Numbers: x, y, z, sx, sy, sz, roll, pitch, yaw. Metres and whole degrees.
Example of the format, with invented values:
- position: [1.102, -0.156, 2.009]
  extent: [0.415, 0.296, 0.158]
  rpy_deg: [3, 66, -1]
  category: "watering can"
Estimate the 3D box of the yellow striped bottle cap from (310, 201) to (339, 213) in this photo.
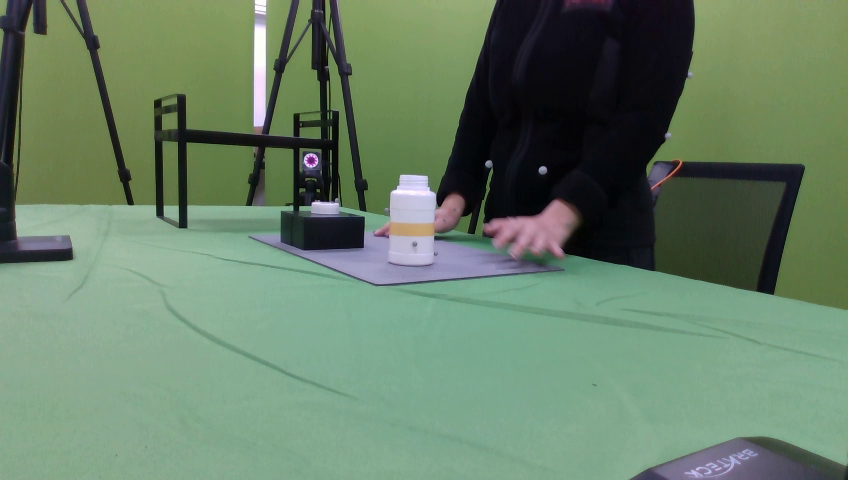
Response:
- position: [-0.157, -0.052, 0.956]
  extent: [0.044, 0.018, 0.044]
  rpy_deg: [4, 5, 0]
  category: "yellow striped bottle cap"

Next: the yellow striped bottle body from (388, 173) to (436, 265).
- position: [-0.016, -0.030, 0.813]
  extent: [0.063, 0.120, 0.063]
  rpy_deg: [2, 7, 0]
  category: "yellow striped bottle body"
